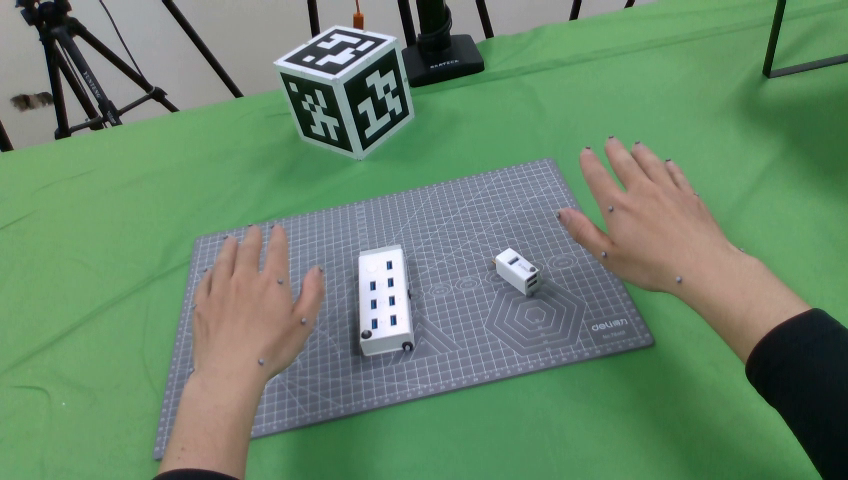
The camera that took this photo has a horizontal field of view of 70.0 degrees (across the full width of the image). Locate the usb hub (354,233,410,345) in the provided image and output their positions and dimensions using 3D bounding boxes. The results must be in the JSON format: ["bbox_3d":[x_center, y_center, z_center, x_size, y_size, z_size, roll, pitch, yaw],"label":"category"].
[{"bbox_3d":[-0.044,0.046,0.606,0.049,0.025,0.124,-11,43,3],"label":"usb hub"}]

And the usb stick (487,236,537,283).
[{"bbox_3d":[0.085,0.016,0.605,0.021,0.027,0.058,-35,45,-18],"label":"usb stick"}]
